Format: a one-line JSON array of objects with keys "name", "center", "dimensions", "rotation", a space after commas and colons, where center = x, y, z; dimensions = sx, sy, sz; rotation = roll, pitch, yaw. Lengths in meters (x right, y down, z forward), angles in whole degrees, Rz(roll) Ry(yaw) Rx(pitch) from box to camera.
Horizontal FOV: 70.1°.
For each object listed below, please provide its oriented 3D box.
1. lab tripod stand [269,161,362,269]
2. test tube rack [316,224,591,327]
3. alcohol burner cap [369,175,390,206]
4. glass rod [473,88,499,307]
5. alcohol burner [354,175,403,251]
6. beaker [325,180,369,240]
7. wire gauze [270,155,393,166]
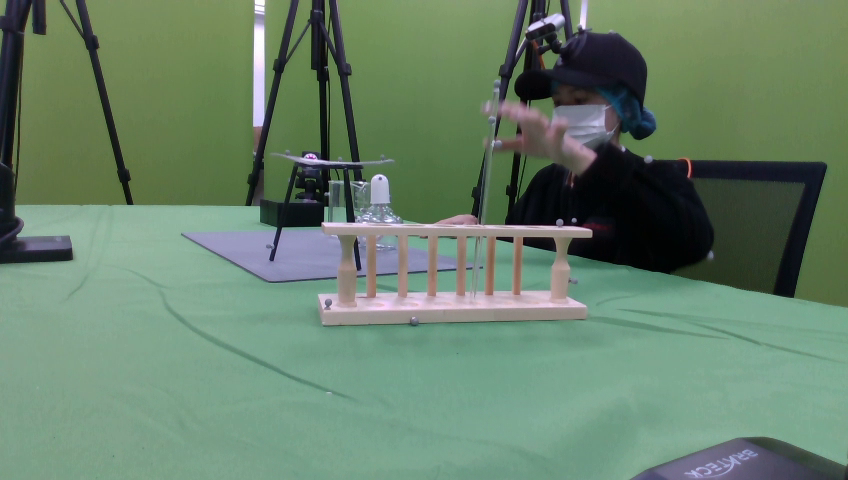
[{"name": "lab tripod stand", "center": [-0.125, -0.036, 0.794], "dimensions": [0.148, 0.131, 0.148], "rotation": [5, 7, 0]}, {"name": "test tube rack", "center": [0.026, 0.028, 0.555], "dimensions": [0.243, 0.085, 0.066], "rotation": [1, 7, -14]}, {"name": "alcohol burner cap", "center": [-0.069, -0.077, 0.939], "dimensions": [0.034, 0.048, 0.034], "rotation": [-1, 6, 0]}, {"name": "glass rod", "center": [0.055, -0.035, 0.542], "dimensions": [0.008, 0.199, 0.008], "rotation": [5, 3, 0]}, {"name": "alcohol burner", "center": [-0.072, -0.042, 0.944], "dimensions": [0.078, 0.119, 0.078], "rotation": [1, 9, 0]}, {"name": "beaker", "center": [-0.133, -0.052, 1.058], "dimensions": [0.074, 0.100, 0.083], "rotation": [-3, 10, -36]}, {"name": "wire gauze", "center": [-0.122, -0.102, 0.785], "dimensions": [0.122, 0.011, 0.124], "rotation": [-3, 10, -39]}]
